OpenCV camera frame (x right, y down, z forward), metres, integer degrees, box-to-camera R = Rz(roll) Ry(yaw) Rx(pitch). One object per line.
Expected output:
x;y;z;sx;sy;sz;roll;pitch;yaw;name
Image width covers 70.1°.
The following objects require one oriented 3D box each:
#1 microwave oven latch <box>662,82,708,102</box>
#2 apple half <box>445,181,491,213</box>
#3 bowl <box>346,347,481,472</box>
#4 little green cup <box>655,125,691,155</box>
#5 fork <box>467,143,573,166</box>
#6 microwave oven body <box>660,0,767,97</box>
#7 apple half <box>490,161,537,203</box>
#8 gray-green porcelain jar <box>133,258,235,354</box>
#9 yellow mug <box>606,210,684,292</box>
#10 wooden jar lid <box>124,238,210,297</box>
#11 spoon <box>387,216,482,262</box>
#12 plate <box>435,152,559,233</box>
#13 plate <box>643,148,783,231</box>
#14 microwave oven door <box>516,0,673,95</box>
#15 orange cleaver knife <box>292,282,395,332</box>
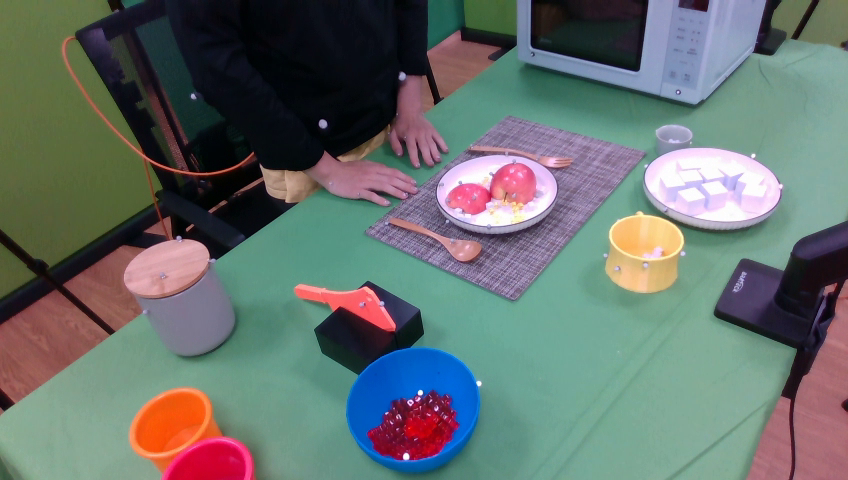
0.517;-0.298;1.203;0.078;0.029;0.030;27;52;34;microwave oven latch
0.077;-0.083;1.029;0.081;0.033;0.081;-2;41;2;apple half
-0.008;0.205;0.691;0.151;0.077;0.150;-4;40;4;bowl
0.450;-0.178;1.099;0.061;0.039;0.061;-5;40;4;little green cup
0.176;-0.163;1.131;0.206;0.019;0.028;15;60;21;fork
0.474;-0.517;1.313;0.438;0.261;0.327;26;51;34;microwave oven body
0.154;-0.106;1.030;0.080;0.053;0.075;22;46;31;apple half
-0.328;0.086;0.836;0.106;0.127;0.105;-4;41;4;gray-green porcelain jar
0.318;0.007;0.883;0.100;0.064;0.130;0;41;8;yellow mug
-0.335;0.039;0.794;0.108;0.021;0.108;-2;40;2;wooden jar lid
0.012;-0.009;0.973;0.192;0.022;0.041;25;72;31;spoon
0.123;-0.078;1.026;0.209;0.038;0.208;-4;40;4;plate
0.464;-0.080;0.986;0.207;0.039;0.206;-4;41;4;plate
0.344;-0.458;1.256;0.353;0.245;0.039;26;51;33;microwave oven door
-0.116;0.091;0.835;0.209;0.077;0.012;2;32;48;orange cleaver knife
